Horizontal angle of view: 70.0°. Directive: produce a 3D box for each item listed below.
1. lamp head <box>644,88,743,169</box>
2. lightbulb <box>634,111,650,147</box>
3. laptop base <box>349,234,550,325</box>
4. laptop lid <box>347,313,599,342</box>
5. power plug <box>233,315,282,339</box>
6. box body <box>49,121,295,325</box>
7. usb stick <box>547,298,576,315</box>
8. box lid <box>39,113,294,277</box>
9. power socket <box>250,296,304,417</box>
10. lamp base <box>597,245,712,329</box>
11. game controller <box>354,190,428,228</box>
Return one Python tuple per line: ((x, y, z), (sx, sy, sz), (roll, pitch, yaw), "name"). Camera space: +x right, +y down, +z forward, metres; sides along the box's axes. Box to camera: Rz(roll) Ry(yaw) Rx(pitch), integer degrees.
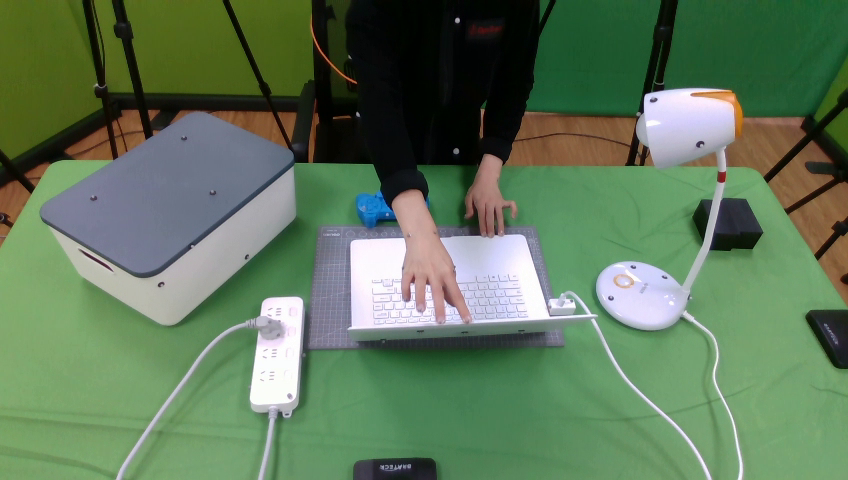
((0.380, -0.161, 0.851), (0.122, 0.113, 0.112), (-4, 42, 25), "lamp head")
((0.348, -0.163, 0.852), (0.059, 0.060, 0.107), (-36, 19, -32), "lightbulb")
((0.039, 0.081, 1.125), (0.355, 0.023, 0.234), (-2, 43, -6), "laptop base")
((0.062, 0.137, 0.932), (0.357, 0.242, 0.013), (-2, 77, -8), "laptop lid")
((-0.271, 0.144, 1.000), (0.072, 0.053, 0.035), (6, 46, 4), "power plug")
((-0.437, -0.046, 1.110), (0.253, 0.161, 0.363), (24, 49, 19), "box body")
((0.240, 0.120, 1.085), (0.059, 0.027, 0.021), (-2, 51, -2), "usb stick")
((-0.435, -0.096, 1.056), (0.262, 0.015, 0.370), (25, 48, 18), "box lid")
((-0.239, 0.182, 0.996), (0.072, 0.033, 0.225), (-2, 47, -5), "power socket")
((0.418, 0.051, 1.071), (0.179, 0.181, 0.160), (22, 49, 13), "lamp base")
((-0.066, -0.072, 1.244), (0.155, 0.052, 0.096), (0, 49, -4), "game controller")
